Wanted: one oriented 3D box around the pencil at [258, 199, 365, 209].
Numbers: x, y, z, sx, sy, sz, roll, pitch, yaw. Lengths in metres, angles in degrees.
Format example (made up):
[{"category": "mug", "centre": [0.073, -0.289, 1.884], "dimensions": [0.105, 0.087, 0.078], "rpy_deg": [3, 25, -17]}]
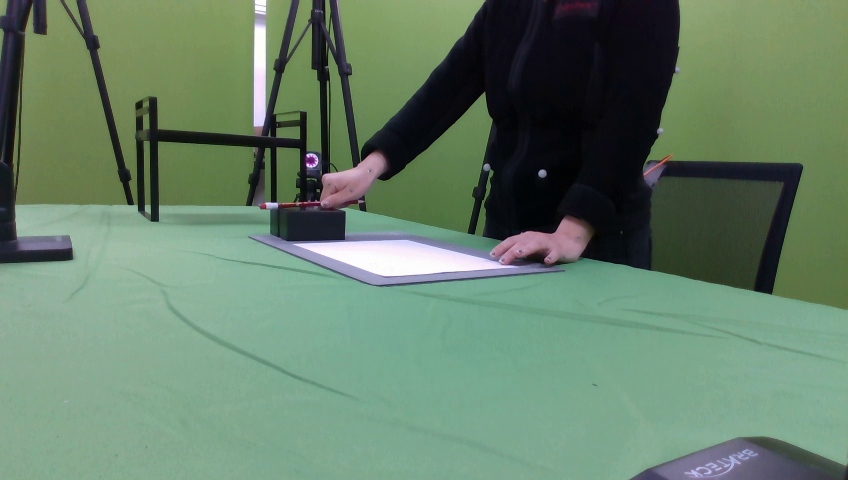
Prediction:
[{"category": "pencil", "centre": [-0.190, -0.064, 1.045], "dimensions": [0.195, 0.012, 0.012], "rpy_deg": [-5, 10, -31]}]
